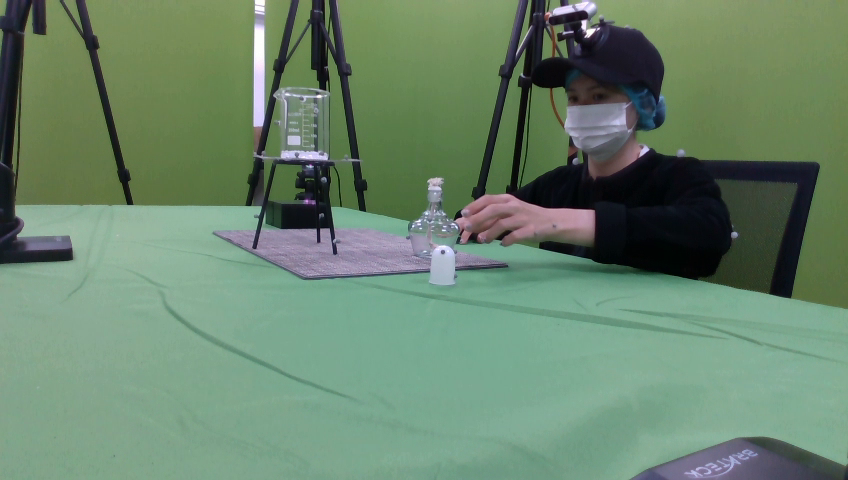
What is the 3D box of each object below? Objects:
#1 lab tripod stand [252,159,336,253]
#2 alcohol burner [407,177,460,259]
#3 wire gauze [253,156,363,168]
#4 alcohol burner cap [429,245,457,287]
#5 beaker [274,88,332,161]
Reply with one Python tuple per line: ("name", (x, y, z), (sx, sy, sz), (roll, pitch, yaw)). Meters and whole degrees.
("lab tripod stand", (-0.180, -0.053, 0.900), (0.148, 0.131, 0.148), (1, 6, 0))
("alcohol burner", (0.015, -0.032, 0.882), (0.078, 0.119, 0.078), (3, 5, 0))
("wire gauze", (-0.172, -0.117, 0.891), (0.122, 0.011, 0.124), (0, 3, -38))
("alcohol burner cap", (0.023, 0.030, 0.705), (0.034, 0.048, 0.034), (2, 6, 0))
("beaker", (-0.177, -0.165, 0.879), (0.084, 0.100, 0.074), (2, 5, 1))
